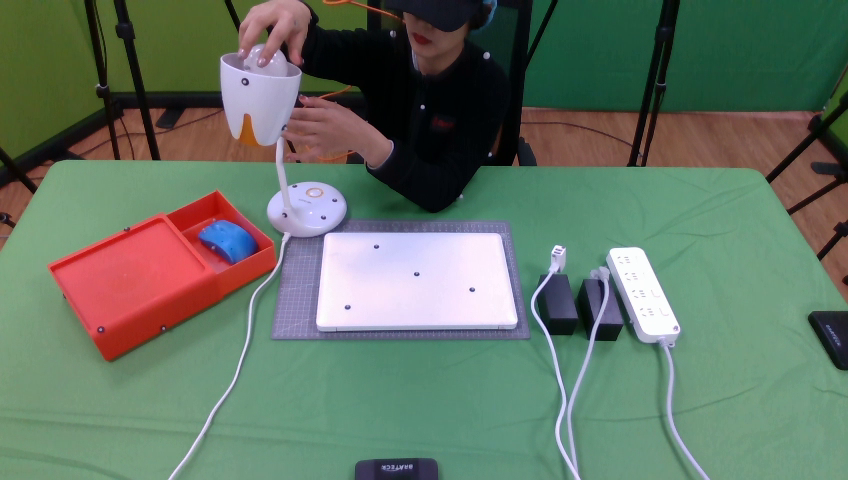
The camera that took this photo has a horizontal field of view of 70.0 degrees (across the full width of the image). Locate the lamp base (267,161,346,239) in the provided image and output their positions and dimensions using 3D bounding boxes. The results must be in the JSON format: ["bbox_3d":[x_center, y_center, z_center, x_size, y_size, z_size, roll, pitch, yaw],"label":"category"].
[{"bbox_3d":[-0.241,-0.110,1.175,0.160,0.181,0.178,11,49,9],"label":"lamp base"}]

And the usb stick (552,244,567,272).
[{"bbox_3d":[0.251,0.039,1.123,0.021,0.059,0.027,14,47,24],"label":"usb stick"}]

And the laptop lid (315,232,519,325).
[{"bbox_3d":[-0.015,0.065,1.118,0.357,0.013,0.240,1,43,-3],"label":"laptop lid"}]

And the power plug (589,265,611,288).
[{"bbox_3d":[0.318,0.073,1.108,0.035,0.053,0.072,26,34,13],"label":"power plug"}]

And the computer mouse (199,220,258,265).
[{"bbox_3d":[-0.374,-0.001,1.153,0.116,0.041,0.063,30,52,28],"label":"computer mouse"}]

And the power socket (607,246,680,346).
[{"bbox_3d":[0.403,0.096,1.123,0.072,0.033,0.225,-3,46,-5],"label":"power socket"}]

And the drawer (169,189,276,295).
[{"bbox_3d":[-0.413,0.022,1.108,0.212,0.073,0.193,-33,57,-30],"label":"drawer"}]

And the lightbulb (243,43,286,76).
[{"bbox_3d":[-0.234,-0.228,0.871,0.059,0.108,0.059,17,28,-9],"label":"lightbulb"}]

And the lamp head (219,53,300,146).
[{"bbox_3d":[-0.244,-0.203,0.889,0.112,0.123,0.112,10,33,-7],"label":"lamp head"}]

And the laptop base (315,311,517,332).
[{"bbox_3d":[-0.016,0.075,1.125,0.355,0.023,0.234,0,42,-4],"label":"laptop base"}]

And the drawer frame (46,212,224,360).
[{"bbox_3d":[-0.495,0.071,1.050,0.213,0.083,0.200,-32,56,-29],"label":"drawer frame"}]
